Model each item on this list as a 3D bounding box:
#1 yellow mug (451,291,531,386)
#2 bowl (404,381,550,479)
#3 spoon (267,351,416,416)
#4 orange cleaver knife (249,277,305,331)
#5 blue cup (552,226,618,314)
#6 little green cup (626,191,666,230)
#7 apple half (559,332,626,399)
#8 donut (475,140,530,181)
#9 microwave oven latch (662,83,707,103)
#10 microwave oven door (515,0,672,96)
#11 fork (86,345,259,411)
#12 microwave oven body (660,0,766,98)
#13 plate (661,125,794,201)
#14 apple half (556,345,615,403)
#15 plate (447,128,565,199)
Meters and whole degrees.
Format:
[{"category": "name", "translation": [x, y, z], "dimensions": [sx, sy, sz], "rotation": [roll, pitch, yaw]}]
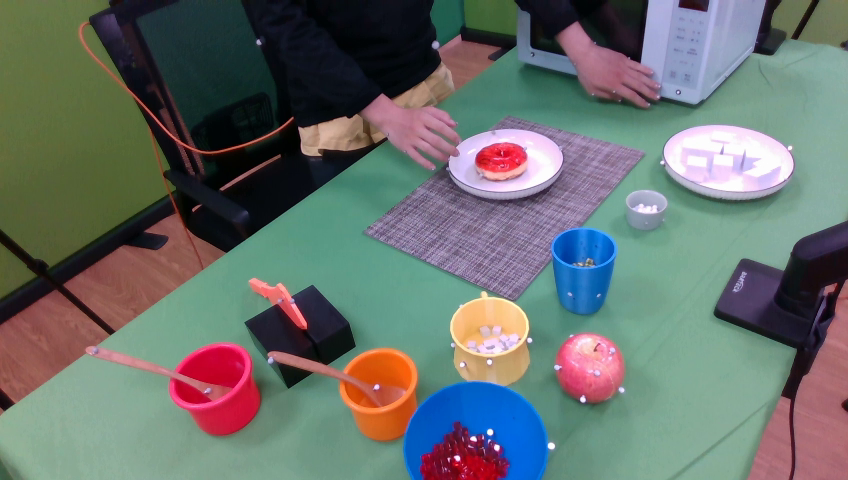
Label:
[{"category": "yellow mug", "translation": [0.085, 0.120, 0.786], "dimensions": [0.100, 0.064, 0.130], "rotation": [-7, 39, 1]}, {"category": "bowl", "translation": [0.058, 0.235, 0.645], "dimensions": [0.151, 0.077, 0.150], "rotation": [-4, 39, 4]}, {"category": "spoon", "translation": [-0.091, 0.162, 0.699], "dimensions": [0.021, 0.195, 0.041], "rotation": [-44, 30, 27]}, {"category": "orange cleaver knife", "translation": [-0.210, 0.088, 0.855], "dimensions": [0.012, 0.077, 0.210], "rotation": [-28, 15, -25]}, {"category": "blue cup", "translation": [0.218, 0.047, 0.826], "dimensions": [0.092, 0.101, 0.092], "rotation": [-6, 40, 5]}, {"category": "little green cup", "translation": [0.352, -0.046, 0.963], "dimensions": [0.061, 0.039, 0.061], "rotation": [-4, 40, 4]}, {"category": "apple half", "translation": [0.209, 0.147, 0.730], "dimensions": [0.080, 0.075, 0.053], "rotation": [26, 48, 38]}, {"category": "donut", "translation": [0.141, -0.145, 1.089], "dimensions": [0.099, 0.048, 0.098], "rotation": [-6, 38, 5]}, {"category": "microwave oven latch", "translation": [0.517, -0.296, 1.204], "dimensions": [0.078, 0.029, 0.030], "rotation": [27, 52, 35]}, {"category": "microwave oven door", "translation": [0.343, -0.454, 1.259], "dimensions": [0.353, 0.245, 0.039], "rotation": [26, 51, 33]}, {"category": "fork", "translation": [-0.298, 0.167, 0.728], "dimensions": [0.209, 0.018, 0.028], "rotation": [28, 47, -23]}, {"category": "microwave oven body", "translation": [0.472, -0.513, 1.317], "dimensions": [0.438, 0.261, 0.327], "rotation": [26, 51, 34]}, {"category": "plate", "translation": [0.513, -0.128, 1.035], "dimensions": [0.207, 0.039, 0.206], "rotation": [-4, 40, 4]}, {"category": "apple half", "translation": [0.181, 0.167, 0.709], "dimensions": [0.080, 0.081, 0.033], "rotation": [29, 50, 35]}, {"category": "plate", "translation": [0.147, -0.134, 1.092], "dimensions": [0.209, 0.038, 0.208], "rotation": [-4, 40, 4]}]
